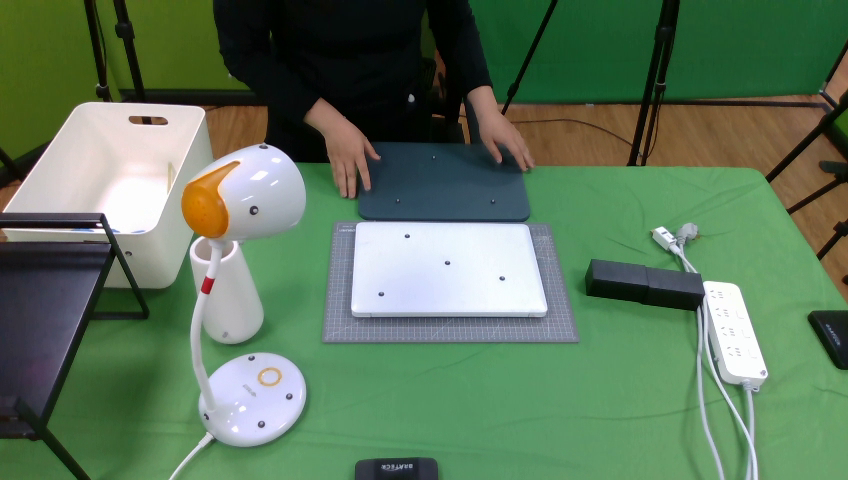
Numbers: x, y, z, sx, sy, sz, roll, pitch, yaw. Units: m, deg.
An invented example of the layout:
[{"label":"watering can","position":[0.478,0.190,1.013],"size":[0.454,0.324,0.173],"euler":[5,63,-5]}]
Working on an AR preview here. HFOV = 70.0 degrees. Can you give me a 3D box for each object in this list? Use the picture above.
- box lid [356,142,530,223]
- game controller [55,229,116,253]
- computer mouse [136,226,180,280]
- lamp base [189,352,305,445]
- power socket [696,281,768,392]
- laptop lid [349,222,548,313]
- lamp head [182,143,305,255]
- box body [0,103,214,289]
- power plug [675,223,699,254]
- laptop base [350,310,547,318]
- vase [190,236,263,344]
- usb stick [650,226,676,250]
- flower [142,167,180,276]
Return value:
[{"label":"box lid","position":[0.040,-0.132,1.339],"size":[0.372,0.015,0.261],"euler":[0,46,-4]},{"label":"game controller","position":[-0.597,0.010,1.116],"size":[0.155,0.052,0.096],"euler":[1,48,-1]},{"label":"computer mouse","position":[-0.491,0.020,1.118],"size":[0.063,0.041,0.116],"euler":[0,54,-8]},{"label":"lamp base","position":[-0.268,0.196,0.876],"size":[0.160,0.181,0.179],"euler":[25,52,20]},{"label":"power socket","position":[0.543,0.161,1.077],"size":[0.072,0.033,0.225],"euler":[5,46,2]},{"label":"laptop lid","position":[0.042,0.046,1.142],"size":[0.357,0.013,0.240],"euler":[2,44,-3]},{"label":"lamp head","position":[-0.216,-0.044,0.697],"size":[0.112,0.113,0.123],"euler":[23,31,17]},{"label":"box body","position":[-0.563,-0.087,1.139],"size":[0.254,0.161,0.361],"euler":[2,46,-3]},{"label":"power plug","position":[0.537,0.000,1.243],"size":[0.053,0.035,0.072],"euler":[18,82,-17]},{"label":"laptop base","position":[0.041,0.056,1.149],"size":[0.355,0.023,0.234],"euler":[0,42,-4]},{"label":"vase","position":[-0.317,0.081,0.971],"size":[0.098,0.201,0.097],"euler":[3,47,-3]},{"label":"usb stick","position":[0.485,-0.008,1.238],"size":[0.021,0.027,0.059],"euler":[-22,44,-13]},{"label":"flower","position":[-0.495,-0.053,1.173],"size":[0.044,0.038,0.359],"euler":[-39,35,16]}]
